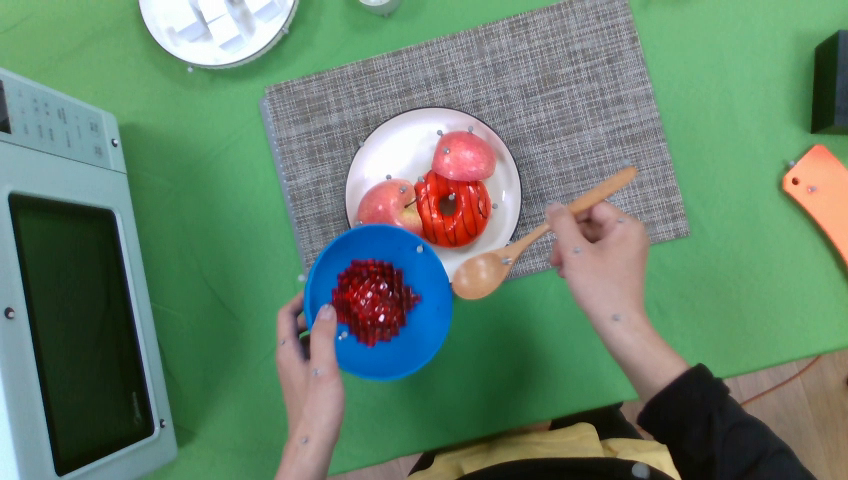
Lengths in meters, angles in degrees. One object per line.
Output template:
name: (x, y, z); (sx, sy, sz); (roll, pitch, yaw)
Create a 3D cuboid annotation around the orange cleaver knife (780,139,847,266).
orange cleaver knife: (0.473, -0.012, 0.665); (0.077, 0.012, 0.210); (-30, 83, 0)

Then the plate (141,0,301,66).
plate: (-0.246, -0.316, 0.753); (0.207, 0.039, 0.207); (0, 88, 7)

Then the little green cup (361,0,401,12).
little green cup: (-0.054, -0.307, 0.729); (0.061, 0.039, 0.061); (0, 88, 8)

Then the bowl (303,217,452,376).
bowl: (-0.056, 0.058, 0.602); (0.152, 0.076, 0.151); (5, 79, -27)

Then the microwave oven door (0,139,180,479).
microwave oven door: (-0.364, 0.083, 0.634); (0.039, 0.244, 0.355); (-13, 86, 6)

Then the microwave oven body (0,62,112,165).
microwave oven body: (-0.513, 0.073, 0.658); (0.326, 0.260, 0.441); (-12, 87, 6)

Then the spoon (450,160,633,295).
spoon: (0.103, -0.010, 0.543); (0.194, 0.022, 0.041); (-37, 64, 23)

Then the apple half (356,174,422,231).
apple half: (-0.047, -0.032, 0.685); (0.074, 0.053, 0.080); (-14, 84, 47)

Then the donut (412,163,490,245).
donut: (0.027, -0.043, 0.697); (0.099, 0.048, 0.099); (0, 92, 7)

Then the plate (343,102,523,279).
plate: (0.011, -0.055, 0.710); (0.209, 0.038, 0.209); (0, 88, 7)

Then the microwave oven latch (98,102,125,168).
microwave oven latch: (-0.394, -0.127, 0.746); (0.030, 0.029, 0.079); (-11, 88, 6)

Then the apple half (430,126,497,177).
apple half: (0.047, -0.106, 0.681); (0.081, 0.033, 0.080); (2, 48, -2)
